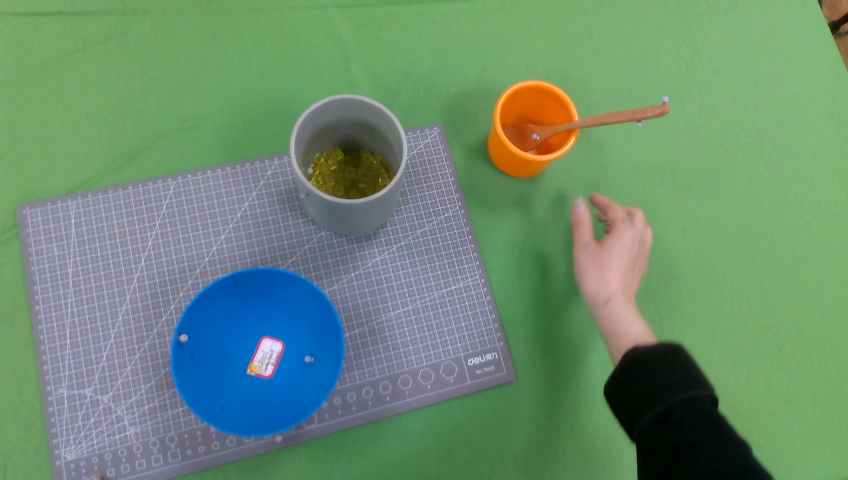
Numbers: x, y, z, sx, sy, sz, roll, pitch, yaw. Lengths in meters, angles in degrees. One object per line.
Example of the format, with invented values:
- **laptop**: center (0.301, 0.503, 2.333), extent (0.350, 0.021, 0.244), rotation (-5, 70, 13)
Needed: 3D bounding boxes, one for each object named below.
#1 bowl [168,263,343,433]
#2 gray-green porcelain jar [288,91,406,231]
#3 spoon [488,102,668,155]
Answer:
- **bowl**: center (-0.152, 0.103, 0.572), extent (0.152, 0.077, 0.150), rotation (2, 76, -7)
- **gray-green porcelain jar**: center (-0.075, -0.070, 0.599), extent (0.106, 0.127, 0.105), rotation (2, 76, -7)
- **spoon**: center (0.153, -0.120, 0.632), extent (0.022, 0.193, 0.041), rotation (22, 69, -48)
